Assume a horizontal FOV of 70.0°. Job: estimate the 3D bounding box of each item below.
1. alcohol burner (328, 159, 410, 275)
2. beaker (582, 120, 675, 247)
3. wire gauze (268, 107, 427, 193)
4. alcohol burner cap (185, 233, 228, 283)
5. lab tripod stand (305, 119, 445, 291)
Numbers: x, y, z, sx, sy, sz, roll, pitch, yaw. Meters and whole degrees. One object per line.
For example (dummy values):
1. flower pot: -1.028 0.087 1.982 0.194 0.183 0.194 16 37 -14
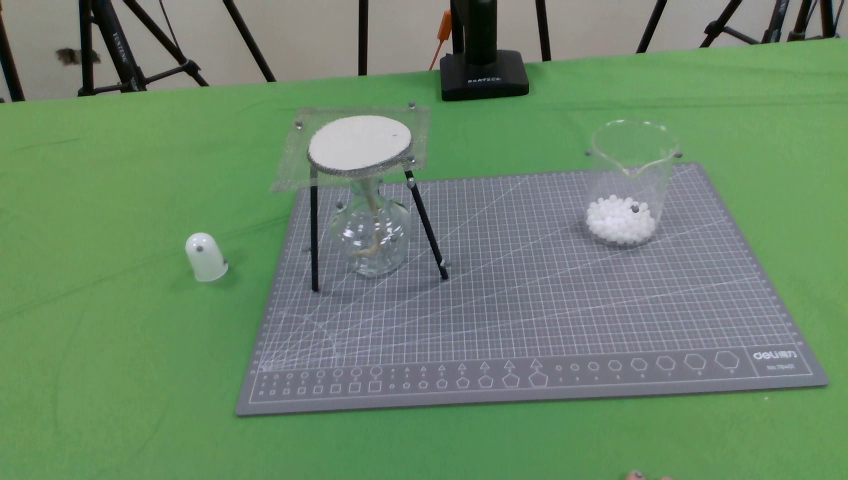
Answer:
1. alcohol burner: -0.052 -0.025 0.555 0.078 0.120 0.077 -2 42 2
2. beaker: 0.187 -0.048 0.566 0.074 0.101 0.083 6 43 14
3. wire gauze: -0.058 -0.081 0.502 0.121 0.011 0.124 -4 39 4
4. alcohol burner cap: -0.213 0.015 0.588 0.034 0.048 0.033 -2 42 2
5. lab tripod stand: -0.052 -0.033 0.550 0.148 0.133 0.147 -5 40 4
